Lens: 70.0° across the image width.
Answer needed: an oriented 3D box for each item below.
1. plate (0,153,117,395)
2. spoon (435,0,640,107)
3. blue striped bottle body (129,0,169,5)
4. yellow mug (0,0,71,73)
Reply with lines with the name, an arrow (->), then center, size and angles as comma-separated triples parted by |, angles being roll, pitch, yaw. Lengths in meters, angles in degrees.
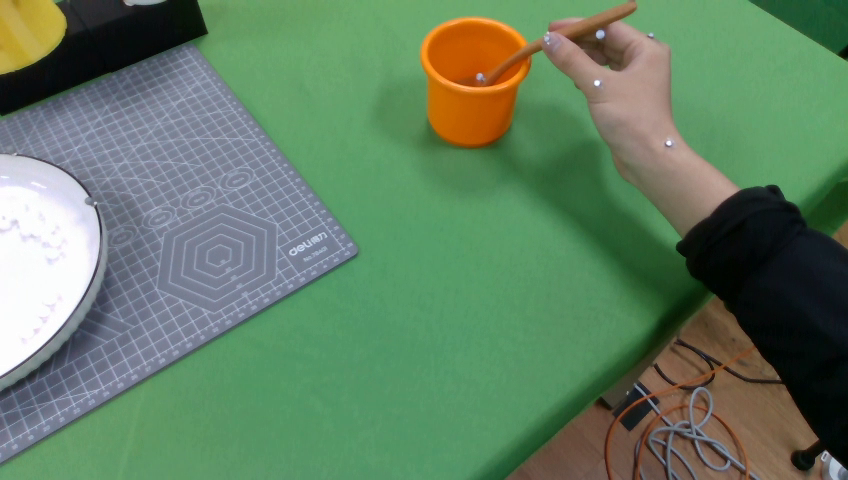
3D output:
plate -> -0.323, 0.028, 0.431 | 0.208, 0.039, 0.205 | 1, 57, -1
spoon -> 0.082, -0.150, 0.493 | 0.022, 0.193, 0.041 | 41, 53, -27
blue striped bottle body -> -0.251, -0.271, 0.517 | 0.063, 0.122, 0.062 | 1, 58, 0
yellow mug -> -0.374, -0.199, 0.501 | 0.130, 0.064, 0.099 | 12, 58, 8
